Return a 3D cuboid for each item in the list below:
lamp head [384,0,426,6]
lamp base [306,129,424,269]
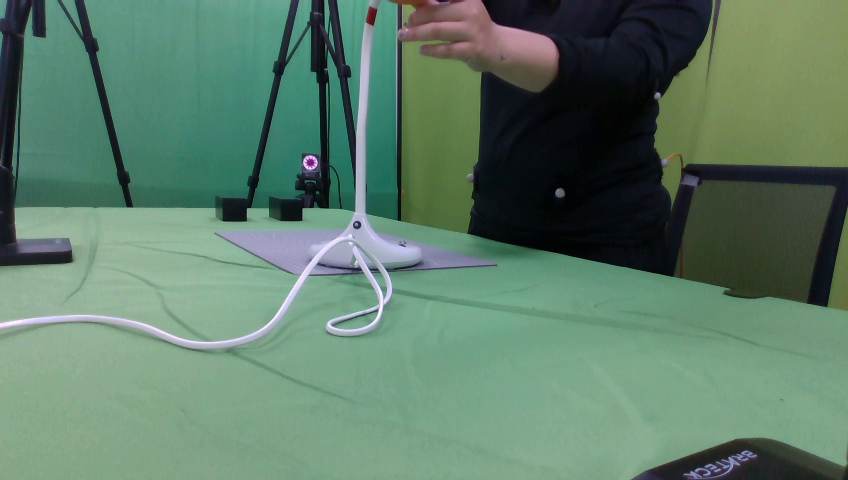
[{"bbox_3d":[-0.024,-0.325,0.671,0.112,0.123,0.112,4,3,0],"label":"lamp head"},{"bbox_3d":[-0.077,-0.057,0.811,0.161,0.180,0.179,2,10,-4],"label":"lamp base"}]
